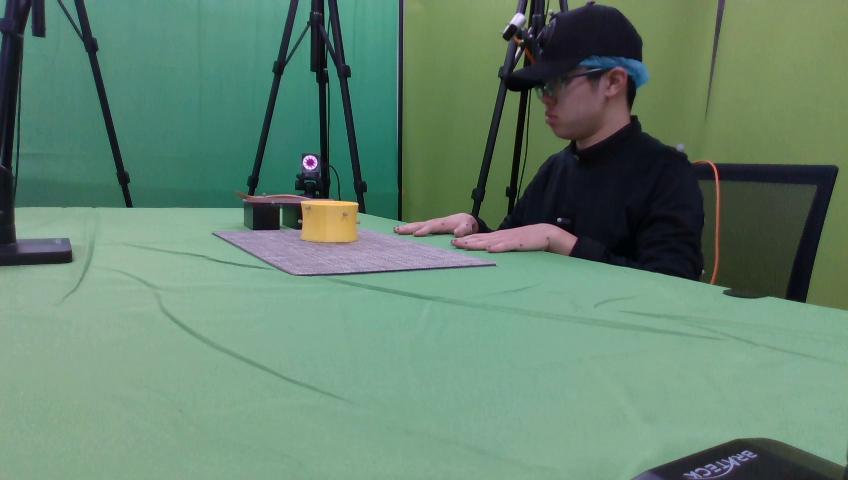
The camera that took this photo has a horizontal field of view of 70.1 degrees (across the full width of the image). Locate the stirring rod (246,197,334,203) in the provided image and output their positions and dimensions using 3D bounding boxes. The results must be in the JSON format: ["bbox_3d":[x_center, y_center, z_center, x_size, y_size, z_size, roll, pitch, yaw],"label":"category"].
[{"bbox_3d":[-0.263,-0.079,1.200,0.177,0.006,0.014,-2,46,-29],"label":"stirring rod"}]

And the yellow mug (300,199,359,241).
[{"bbox_3d":[-0.157,-0.036,1.060,0.099,0.064,0.131,6,7,27],"label":"yellow mug"}]

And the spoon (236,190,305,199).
[{"bbox_3d":[-0.290,-0.088,1.248,0.195,0.021,0.041,0,6,-31],"label":"spoon"}]
